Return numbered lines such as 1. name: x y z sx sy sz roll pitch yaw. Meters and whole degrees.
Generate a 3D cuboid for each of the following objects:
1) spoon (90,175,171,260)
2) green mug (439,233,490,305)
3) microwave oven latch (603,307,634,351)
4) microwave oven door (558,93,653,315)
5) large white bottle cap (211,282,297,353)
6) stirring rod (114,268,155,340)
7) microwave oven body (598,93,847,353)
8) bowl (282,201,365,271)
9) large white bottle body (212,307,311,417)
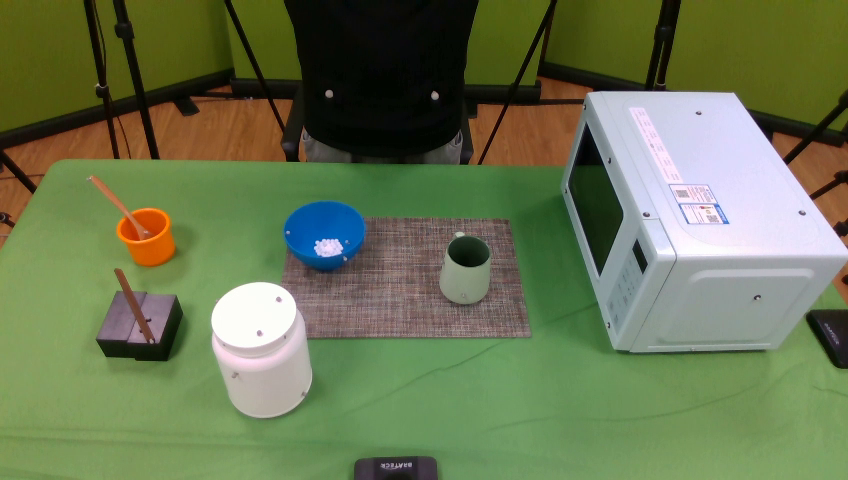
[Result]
1. spoon: -0.538 -0.042 1.111 0.041 0.194 0.021 -45 19 -32
2. green mug: 0.071 0.044 1.102 0.092 0.105 0.124 -6 46 -10
3. microwave oven latch: 0.332 0.153 1.044 0.030 0.029 0.078 0 45 -3
4. microwave oven door: 0.327 -0.074 1.123 0.039 0.245 0.353 0 46 -5
5. large white bottle cap: -0.237 0.106 0.846 0.115 0.018 0.114 2 45 -2
6. stirring rod: -0.479 0.103 0.999 0.014 0.006 0.175 7 32 -49
7. microwave oven body: 0.475 -0.041 1.110 0.326 0.261 0.438 -1 45 -4
8. bowl: -0.187 0.005 1.138 0.151 0.077 0.150 3 46 -3
9. large white bottle body: -0.241 0.165 0.907 0.131 0.185 0.130 2 46 -2
